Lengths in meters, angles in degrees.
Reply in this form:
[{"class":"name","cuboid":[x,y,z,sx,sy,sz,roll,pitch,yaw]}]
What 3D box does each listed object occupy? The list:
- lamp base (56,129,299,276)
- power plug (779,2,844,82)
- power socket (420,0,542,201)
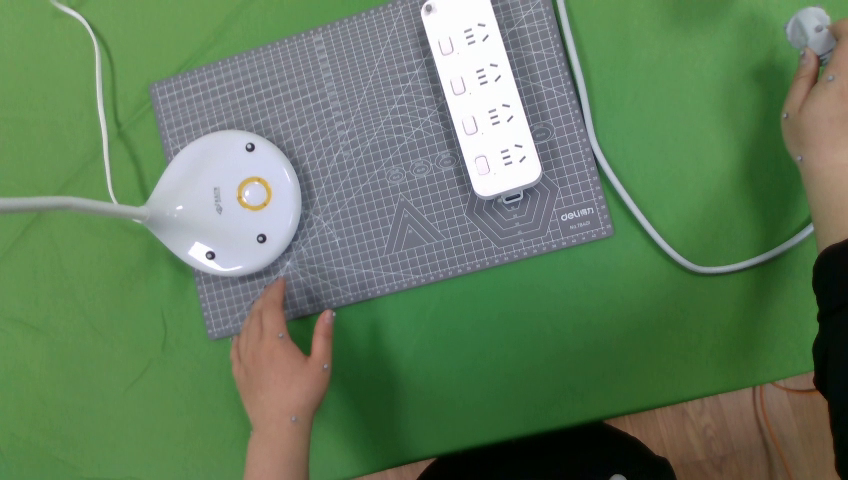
[{"class":"lamp base","cuboid":[-0.237,-0.038,0.584,0.179,0.181,0.160,-21,85,12]},{"class":"power plug","cuboid":[0.339,-0.173,0.537,0.035,0.052,0.073,-16,112,21]},{"class":"power socket","cuboid":[0.056,-0.150,0.610,0.072,0.032,0.226,-17,86,8]}]
